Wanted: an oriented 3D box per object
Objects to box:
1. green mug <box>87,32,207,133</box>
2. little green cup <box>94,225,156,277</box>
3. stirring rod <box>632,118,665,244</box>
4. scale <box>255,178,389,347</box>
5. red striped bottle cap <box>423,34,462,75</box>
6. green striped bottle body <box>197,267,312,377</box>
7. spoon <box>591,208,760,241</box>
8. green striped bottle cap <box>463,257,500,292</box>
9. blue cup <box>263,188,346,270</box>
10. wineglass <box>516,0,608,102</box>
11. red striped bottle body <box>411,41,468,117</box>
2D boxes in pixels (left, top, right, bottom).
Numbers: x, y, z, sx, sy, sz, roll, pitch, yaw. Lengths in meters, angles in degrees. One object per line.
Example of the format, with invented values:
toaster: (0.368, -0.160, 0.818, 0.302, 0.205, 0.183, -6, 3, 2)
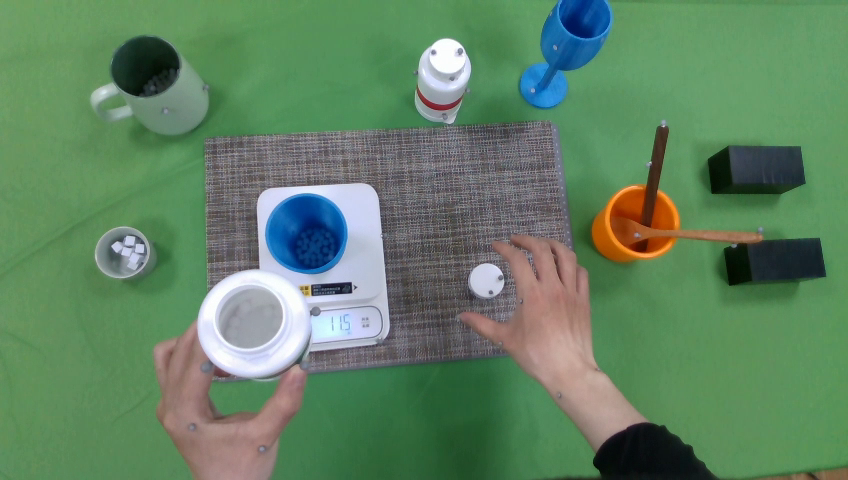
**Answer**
green mug: (-0.332, -0.178, 0.719, 0.125, 0.105, 0.092, -26, 83, -9)
little green cup: (-0.349, 0.015, 0.715, 0.061, 0.039, 0.061, 1, 79, -6)
stirring rod: (0.268, -0.065, 0.728, 0.014, 0.178, 0.005, 2, 38, 9)
scale: (-0.124, 0.026, 0.733, 0.149, 0.031, 0.200, -5, 81, -6)
red striped bottle cap: (0.022, -0.212, 0.693, 0.044, 0.018, 0.044, 1, 76, -4)
green striped bottle body: (-0.104, 0.054, 0.383, 0.063, 0.119, 0.063, 2, 76, -9)
spoon: (0.292, -0.015, 0.721, 0.022, 0.192, 0.041, 13, 84, -46)
green striped bottle cap: (0.071, 0.043, 0.751, 0.044, 0.020, 0.044, 0, 89, -21)
blue cup: (-0.127, -0.004, 0.672, 0.093, 0.100, 0.092, 1, 82, -5)
wineglass: (0.162, -0.233, 0.737, 0.074, 0.172, 0.073, 1, 79, -4)
red striped bottle body: (0.018, -0.203, 0.746, 0.063, 0.120, 0.063, 1, 79, -5)
